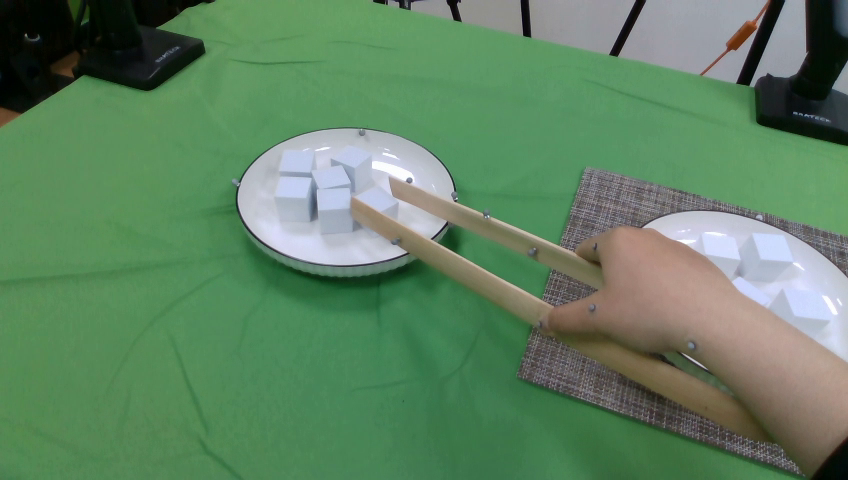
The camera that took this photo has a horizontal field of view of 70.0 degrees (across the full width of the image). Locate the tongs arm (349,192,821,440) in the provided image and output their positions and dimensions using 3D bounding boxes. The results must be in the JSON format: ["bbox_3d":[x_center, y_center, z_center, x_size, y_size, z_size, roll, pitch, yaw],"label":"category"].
[{"bbox_3d":[0.075,0.037,0.448,0.384,0.028,0.028,27,43,34],"label":"tongs arm"}]

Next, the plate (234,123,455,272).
[{"bbox_3d":[-0.075,-0.041,0.590,0.209,0.038,0.207,3,45,-3],"label":"plate"}]

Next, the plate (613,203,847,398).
[{"bbox_3d":[0.266,0.049,0.526,0.208,0.039,0.205,3,45,-2],"label":"plate"}]

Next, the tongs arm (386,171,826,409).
[{"bbox_3d":[0.096,0.023,0.464,0.381,0.027,0.051,25,46,33],"label":"tongs arm"}]
